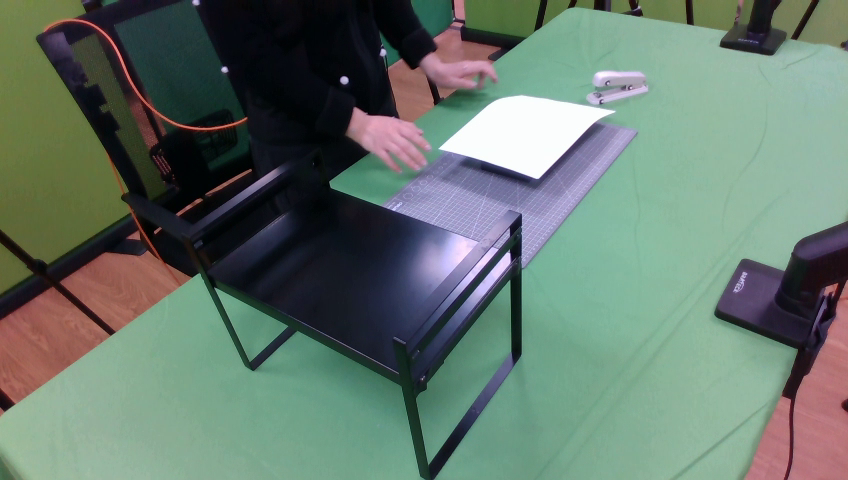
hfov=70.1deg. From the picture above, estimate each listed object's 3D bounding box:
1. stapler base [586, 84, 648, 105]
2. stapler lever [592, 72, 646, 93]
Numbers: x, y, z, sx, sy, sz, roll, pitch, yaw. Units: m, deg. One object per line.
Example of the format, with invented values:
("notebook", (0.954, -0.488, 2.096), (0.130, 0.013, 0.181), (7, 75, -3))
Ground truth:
("stapler base", (0.410, -0.318, 1.285), (0.131, 0.024, 0.041), (-15, 44, -11))
("stapler lever", (0.409, -0.337, 1.269), (0.118, 0.040, 0.026), (-15, 44, -11))
